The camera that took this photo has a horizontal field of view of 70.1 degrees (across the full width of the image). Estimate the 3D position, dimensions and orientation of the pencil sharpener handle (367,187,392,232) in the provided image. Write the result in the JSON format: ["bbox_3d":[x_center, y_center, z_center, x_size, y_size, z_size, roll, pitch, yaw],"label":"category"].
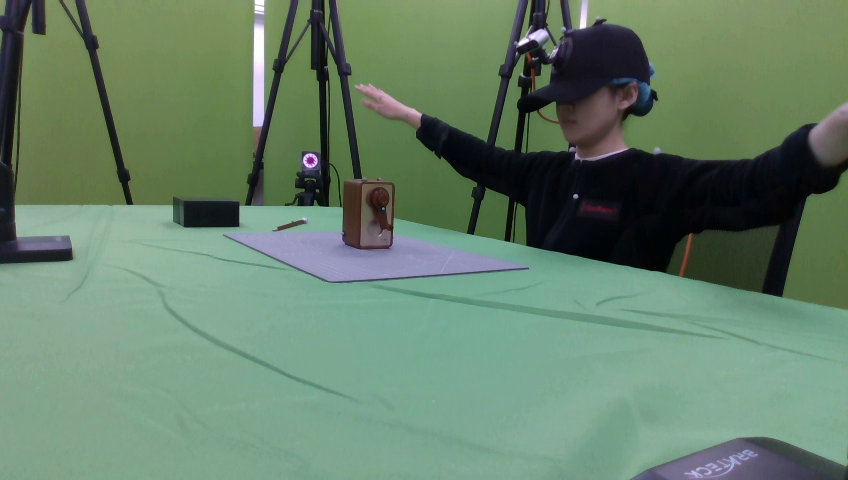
[{"bbox_3d":[-0.062,-0.046,0.915,0.036,0.068,0.030,-13,15,-28],"label":"pencil sharpener handle"}]

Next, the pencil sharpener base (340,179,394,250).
[{"bbox_3d":[-0.091,-0.041,0.959,0.061,0.107,0.076,-1,9,-30],"label":"pencil sharpener base"}]

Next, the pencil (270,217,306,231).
[{"bbox_3d":[-0.271,-0.031,1.212,0.012,0.012,0.194,4,9,7],"label":"pencil"}]
